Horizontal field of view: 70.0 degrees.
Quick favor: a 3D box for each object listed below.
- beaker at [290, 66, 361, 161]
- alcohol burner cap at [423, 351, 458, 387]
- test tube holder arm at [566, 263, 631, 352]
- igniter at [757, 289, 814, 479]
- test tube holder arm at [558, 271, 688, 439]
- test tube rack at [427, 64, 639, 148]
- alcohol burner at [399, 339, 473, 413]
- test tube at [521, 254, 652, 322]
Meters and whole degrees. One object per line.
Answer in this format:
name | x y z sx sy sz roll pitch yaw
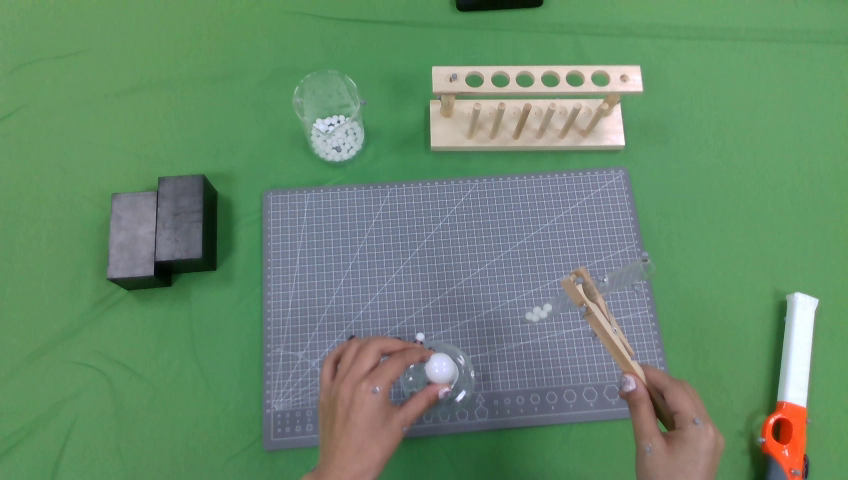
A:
beaker | -0.111 -0.141 0.711 0.074 0.101 0.083 -1 73 -2
alcohol burner cap | 0.014 0.121 0.572 0.034 0.048 0.033 -3 72 9
test tube holder arm | 0.149 0.060 0.516 0.010 0.015 0.088 -30 91 -38
igniter | 0.397 0.187 0.665 0.057 0.025 0.275 19 73 -6
test tube holder arm | 0.170 0.100 0.516 0.013 0.015 0.179 -40 97 -37
test tube rack | 0.126 -0.161 0.733 0.242 0.085 0.066 -1 73 -2
alcohol burner | 0.013 0.136 0.619 0.078 0.119 0.077 1 71 -3
test tube | 0.131 0.044 0.516 0.017 0.150 0.017 13 62 -26
